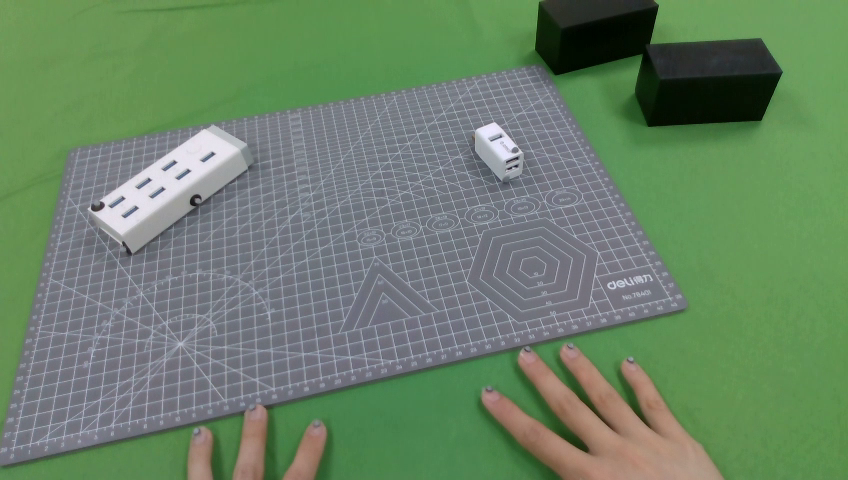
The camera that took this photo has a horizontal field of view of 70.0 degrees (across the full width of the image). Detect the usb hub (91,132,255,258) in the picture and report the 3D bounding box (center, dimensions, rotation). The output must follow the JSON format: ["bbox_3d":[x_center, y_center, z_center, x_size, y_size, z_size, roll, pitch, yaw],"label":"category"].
[{"bbox_3d":[-0.203,-0.041,0.498,0.049,0.025,0.125,29,57,26],"label":"usb hub"}]

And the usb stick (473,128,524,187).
[{"bbox_3d":[0.059,-0.073,0.505,0.021,0.027,0.058,-25,50,-12],"label":"usb stick"}]
